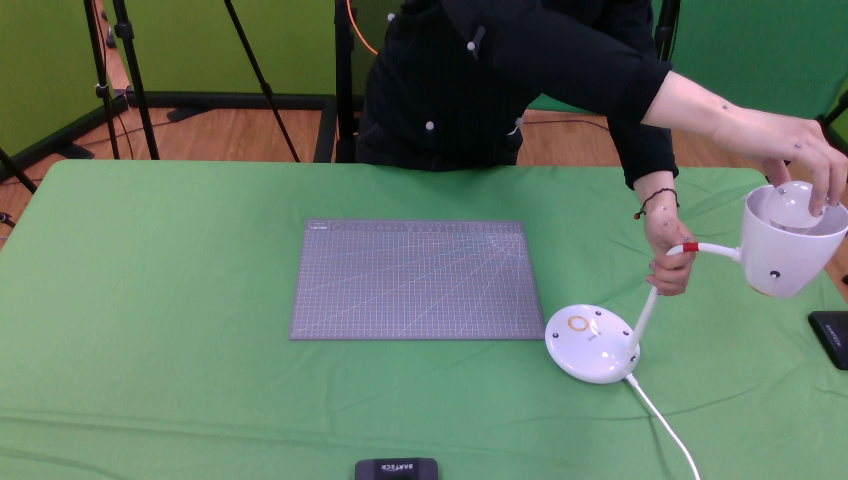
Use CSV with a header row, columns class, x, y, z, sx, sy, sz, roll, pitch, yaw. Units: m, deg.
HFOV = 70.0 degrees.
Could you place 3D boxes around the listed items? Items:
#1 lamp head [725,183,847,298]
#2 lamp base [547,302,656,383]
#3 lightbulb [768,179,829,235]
class,x,y,z,sx,sy,sz,roll,pitch,yaw
lamp head,0.428,0.007,0.725,0.112,0.123,0.111,1,39,0
lamp base,0.304,0.127,0.982,0.160,0.181,0.178,-33,59,-29
lightbulb,0.431,-0.020,0.708,0.059,0.108,0.059,-4,33,3
